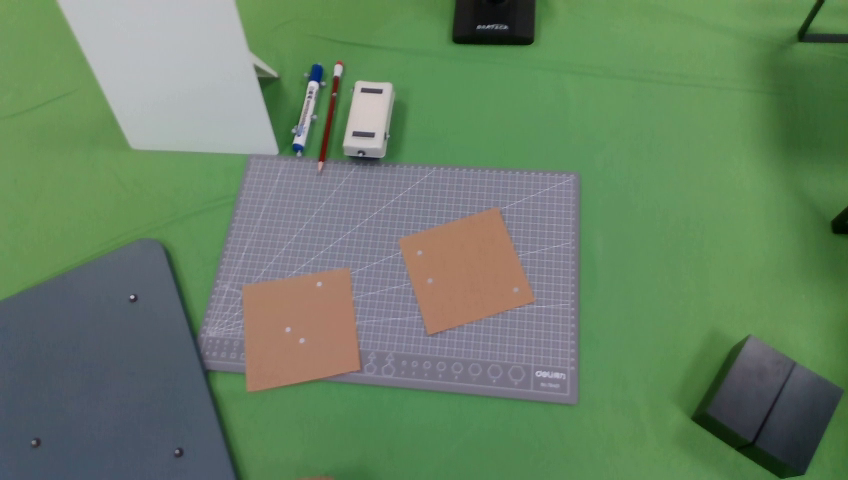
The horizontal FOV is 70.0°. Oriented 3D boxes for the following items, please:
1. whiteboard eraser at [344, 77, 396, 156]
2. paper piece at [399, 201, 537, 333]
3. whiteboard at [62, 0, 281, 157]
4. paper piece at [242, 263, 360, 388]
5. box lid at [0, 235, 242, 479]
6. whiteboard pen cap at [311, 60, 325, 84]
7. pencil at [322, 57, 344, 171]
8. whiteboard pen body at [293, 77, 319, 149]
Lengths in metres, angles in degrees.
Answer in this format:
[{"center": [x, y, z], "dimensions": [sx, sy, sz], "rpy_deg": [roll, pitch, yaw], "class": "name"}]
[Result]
[{"center": [-0.073, -0.167, 0.824], "dimensions": [0.055, 0.042, 0.112], "rpy_deg": [3, 66, 8], "class": "whiteboard eraser"}, {"center": [0.050, 0.031, 0.739], "dimensions": [0.136, 0.009, 0.137], "rpy_deg": [-18, 67, 1], "class": "paper piece"}, {"center": [-0.303, -0.276, 0.781], "dimensions": [0.217, 0.308, 0.142], "rpy_deg": [4, 46, 7], "class": "whiteboard"}, {"center": [-0.150, 0.099, 0.725], "dimensions": [0.135, 0.004, 0.134], "rpy_deg": [-10, 66, 0], "class": "paper piece"}, {"center": [-0.382, 0.184, 0.707], "dimensions": [0.263, 0.015, 0.368], "rpy_deg": [-25, 66, -6], "class": "box lid"}, {"center": [-0.154, -0.243, 0.877], "dimensions": [0.018, 0.018, 0.033], "rpy_deg": [3, 64, 7], "class": "whiteboard pen cap"}, {"center": [-0.129, -0.179, 0.851], "dimensions": [0.012, 0.012, 0.192], "rpy_deg": [2, 66, 6], "class": "pencil"}, {"center": [-0.164, -0.190, 0.855], "dimensions": [0.017, 0.017, 0.140], "rpy_deg": [5, 66, 7], "class": "whiteboard pen body"}]
